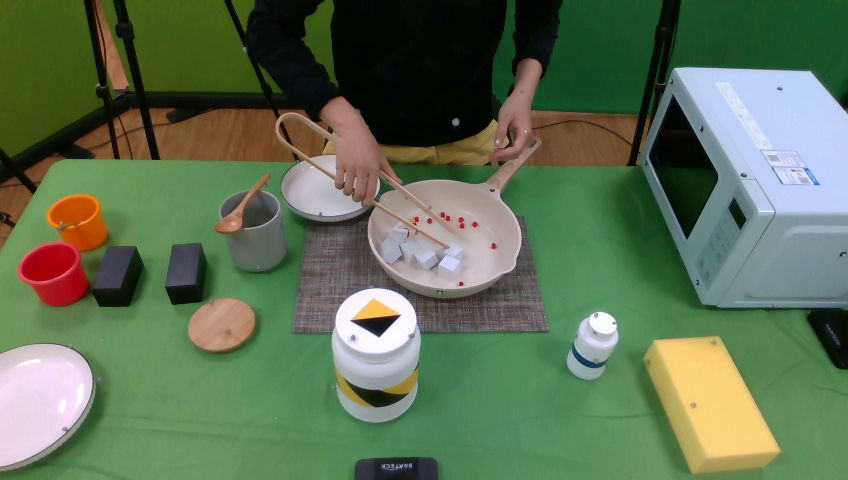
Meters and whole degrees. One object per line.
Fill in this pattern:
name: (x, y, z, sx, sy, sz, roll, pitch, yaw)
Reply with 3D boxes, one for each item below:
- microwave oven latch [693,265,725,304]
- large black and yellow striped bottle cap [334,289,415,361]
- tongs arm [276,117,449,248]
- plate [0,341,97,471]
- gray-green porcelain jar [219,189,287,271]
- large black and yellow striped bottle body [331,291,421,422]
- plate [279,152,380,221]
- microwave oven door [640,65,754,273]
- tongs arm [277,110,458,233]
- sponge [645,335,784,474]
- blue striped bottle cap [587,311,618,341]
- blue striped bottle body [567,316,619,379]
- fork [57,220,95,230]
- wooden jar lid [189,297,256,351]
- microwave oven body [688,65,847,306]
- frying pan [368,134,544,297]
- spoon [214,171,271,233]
microwave oven latch: (0.523, 0.081, 1.116, 0.030, 0.029, 0.078, 2, 46, -1)
large black and yellow striped bottle cap: (-0.069, 0.117, 0.850, 0.115, 0.019, 0.114, 2, 45, -2)
tongs arm: (-0.113, -0.098, 1.112, 0.388, 0.028, 0.028, 35, 83, -9)
plate: (-0.599, 0.247, 0.904, 0.209, 0.038, 0.208, 2, 47, -2)
gray-green porcelain jar: (-0.310, -0.014, 1.113, 0.106, 0.127, 0.105, 2, 46, -2)
large black and yellow striped bottle body: (-0.071, 0.175, 0.911, 0.131, 0.185, 0.130, 2, 47, -2)
plate: (-0.196, -0.107, 1.269, 0.208, 0.039, 0.206, 2, 45, -2)
microwave oven door: (0.523, -0.147, 1.193, 0.039, 0.245, 0.353, 0, 47, -3)
tongs arm: (-0.100, -0.118, 1.116, 0.385, 0.026, 0.050, 39, 79, -8)
sponge: (0.449, 0.253, 0.956, 0.118, 0.061, 0.205, -4, 46, -7)
blue striped bottle cap: (0.279, 0.134, 0.947, 0.044, 0.021, 0.044, 2, 45, -2)
blue striped bottle body: (0.276, 0.168, 0.984, 0.063, 0.121, 0.062, 2, 46, -2)
fork: (-0.624, -0.027, 1.086, 0.028, 0.207, 0.018, -2, 91, -17)
wooden jar lid: (-0.342, 0.145, 1.033, 0.108, 0.021, 0.107, 2, 45, -2)
microwave oven body: (0.669, -0.111, 1.176, 0.326, 0.261, 0.439, 0, 46, -3)
frying pan: (0.104, -0.069, 1.205, 0.305, 0.103, 0.487, 32, 61, 23)
spoon: (-0.312, -0.070, 1.070, 0.041, 0.022, 0.193, 9, 43, 10)
